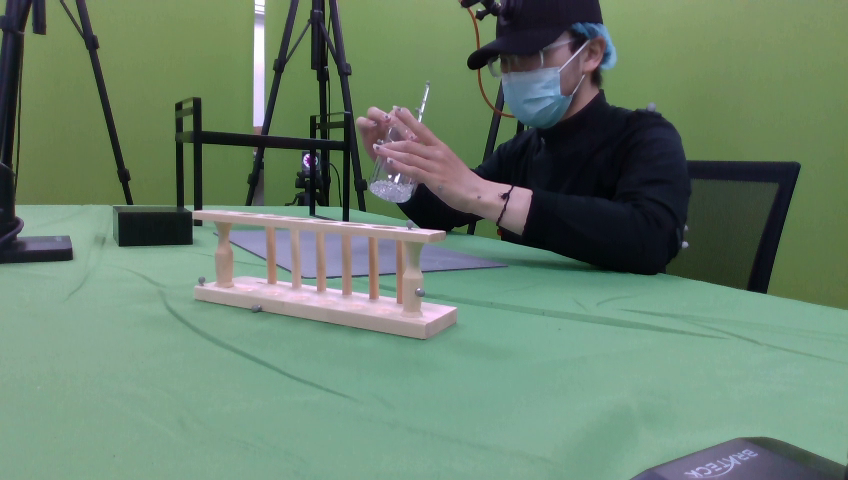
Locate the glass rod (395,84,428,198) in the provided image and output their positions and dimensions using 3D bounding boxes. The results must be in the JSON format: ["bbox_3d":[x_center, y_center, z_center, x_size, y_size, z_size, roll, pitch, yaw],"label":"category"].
[{"bbox_3d":[-0.019,-0.157,0.944,0.008,0.199,0.008,13,-15,4],"label":"glass rod"}]

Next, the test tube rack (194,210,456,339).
[{"bbox_3d":[-0.093,0.023,0.546,0.241,0.085,0.067,6,8,25],"label":"test tube rack"}]

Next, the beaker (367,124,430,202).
[{"bbox_3d":[-0.039,-0.115,0.916,0.074,0.100,0.083,26,-19,-22],"label":"beaker"}]
